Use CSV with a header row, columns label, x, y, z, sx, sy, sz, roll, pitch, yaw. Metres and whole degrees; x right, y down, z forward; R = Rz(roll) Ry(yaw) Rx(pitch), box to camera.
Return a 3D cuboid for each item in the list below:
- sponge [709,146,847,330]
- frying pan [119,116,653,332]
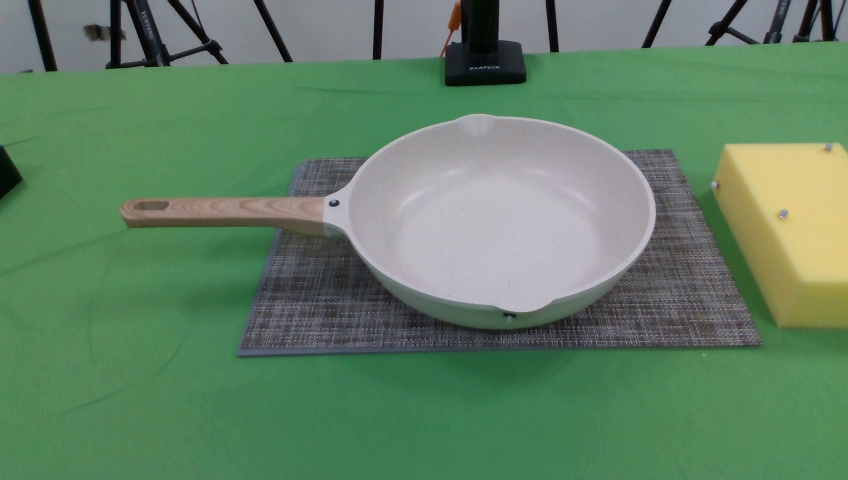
label,x,y,z,sx,sy,sz,roll,pitch,yaw
sponge,0.368,-0.010,0.578,0.118,0.061,0.205,-1,41,4
frying pan,-0.036,-0.023,0.586,0.489,0.103,0.303,2,40,-6
